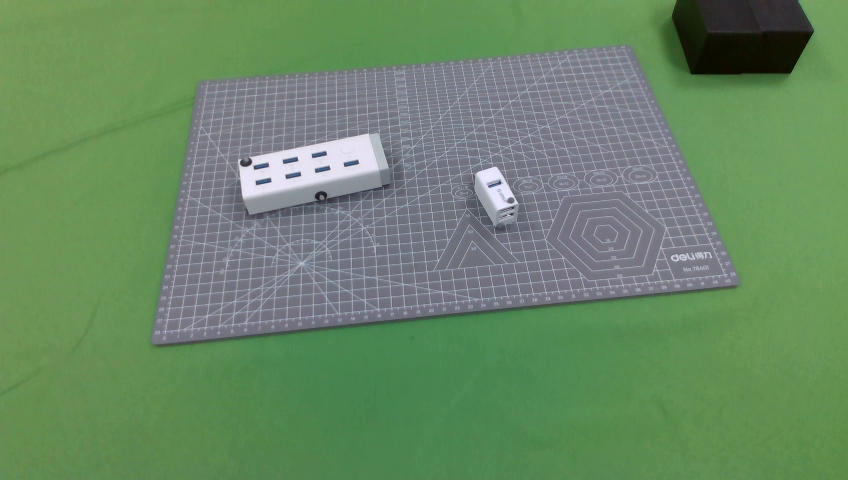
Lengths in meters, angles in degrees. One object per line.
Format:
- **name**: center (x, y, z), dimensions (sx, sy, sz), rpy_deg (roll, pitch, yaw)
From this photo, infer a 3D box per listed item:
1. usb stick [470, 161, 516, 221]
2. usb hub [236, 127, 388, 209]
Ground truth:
- **usb stick**: center (0.055, -0.046, 0.511), dimensions (0.021, 0.027, 0.058), rpy_deg (-19, 54, -10)
- **usb hub**: center (-0.098, -0.065, 0.529), dimensions (0.125, 0.025, 0.049), rpy_deg (-13, 55, -8)
